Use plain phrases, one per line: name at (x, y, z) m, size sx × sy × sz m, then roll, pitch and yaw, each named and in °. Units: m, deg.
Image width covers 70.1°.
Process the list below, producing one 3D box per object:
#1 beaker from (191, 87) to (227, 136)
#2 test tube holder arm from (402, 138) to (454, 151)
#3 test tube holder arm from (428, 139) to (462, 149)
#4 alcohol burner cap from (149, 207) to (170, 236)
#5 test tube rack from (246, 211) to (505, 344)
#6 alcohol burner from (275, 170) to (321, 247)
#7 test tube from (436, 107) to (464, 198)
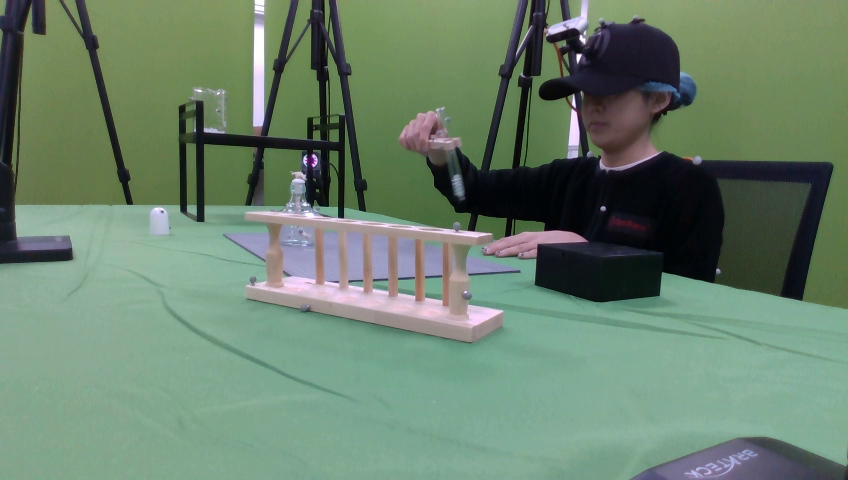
beaker at (-0.476, -0.284, 1.345) m, size 0.074 × 0.100 × 0.083 m, roll -3°, pitch 10°, yaw -37°
test tube holder arm at (0.003, -0.165, 1.039) m, size 0.013 × 0.015 × 0.177 m, roll -18°, pitch 19°, yaw -25°
test tube holder arm at (0.031, -0.160, 1.004) m, size 0.010 × 0.015 × 0.087 m, roll -22°, pitch 20°, yaw -32°
alcohol burner cap at (-0.445, -0.032, 1.020) m, size 0.034 × 0.048 × 0.034 m, roll 4°, pitch 9°, yaw 0°
test tube rack at (-0.049, 0.025, 0.547) m, size 0.241 × 0.085 × 0.067 m, roll 7°, pitch 8°, yaw 29°
alcohol burner at (-0.199, -0.049, 0.948) m, size 0.078 × 0.119 × 0.078 m, roll 1°, pitch 7°, yaw 0°
test tube at (0.043, -0.141, 0.987) m, size 0.017 × 0.150 × 0.017 m, roll -13°, pitch 17°, yaw 4°
